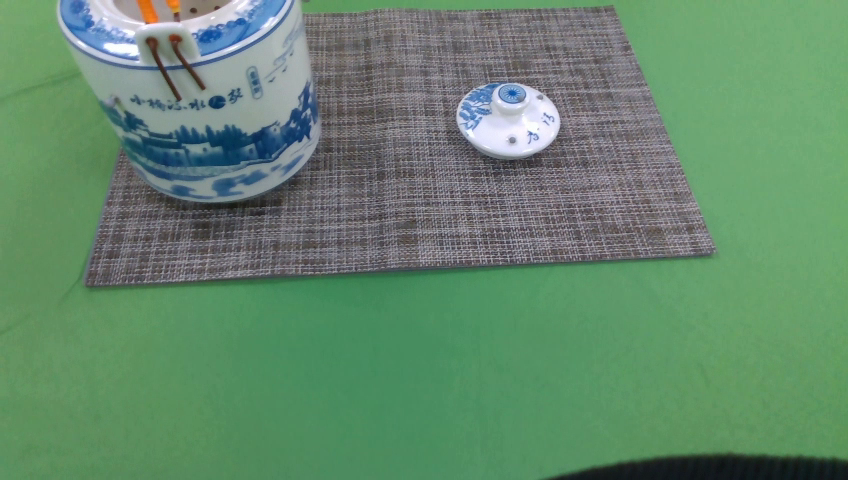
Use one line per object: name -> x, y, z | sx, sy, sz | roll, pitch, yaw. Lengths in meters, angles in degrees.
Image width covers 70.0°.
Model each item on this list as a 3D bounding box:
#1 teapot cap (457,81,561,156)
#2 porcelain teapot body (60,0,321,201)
teapot cap -> 0.069, -0.105, 0.492 | 0.085, 0.044, 0.084 | -1, 55, 1
porcelain teapot body -> -0.156, -0.162, 0.412 | 0.145, 0.227, 0.203 | -8, 56, -7
